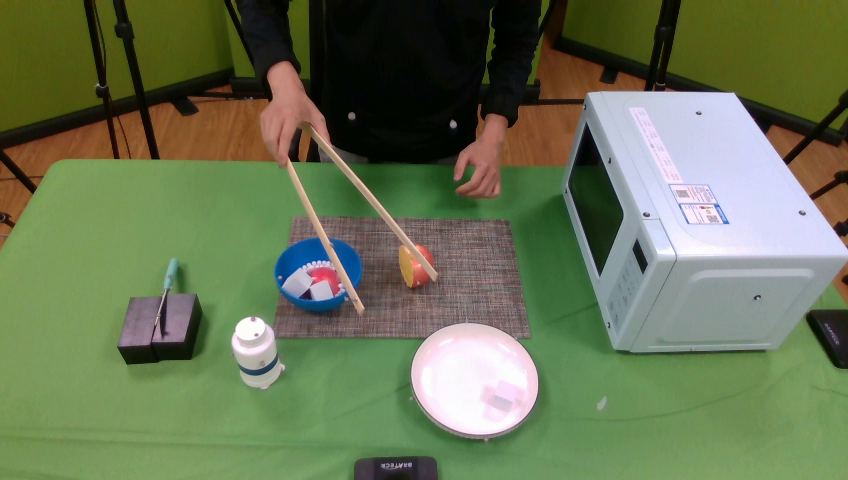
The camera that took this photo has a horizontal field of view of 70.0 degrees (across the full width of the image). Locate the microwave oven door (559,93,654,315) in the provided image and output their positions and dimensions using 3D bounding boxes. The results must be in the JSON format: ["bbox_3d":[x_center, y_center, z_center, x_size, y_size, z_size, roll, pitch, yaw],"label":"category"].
[{"bbox_3d":[0.327,-0.074,1.123,0.039,0.245,0.353,0,46,-5],"label":"microwave oven door"}]

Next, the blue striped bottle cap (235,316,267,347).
[{"bbox_3d":[-0.260,0.136,0.907,0.044,0.021,0.044,2,44,-2],"label":"blue striped bottle cap"}]

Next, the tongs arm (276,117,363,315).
[{"bbox_3d":[-0.165,-0.050,0.973,0.051,0.026,0.382,-21,64,-23],"label":"tongs arm"}]

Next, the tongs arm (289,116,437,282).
[{"bbox_3d":[-0.105,-0.076,1.004,0.028,0.028,0.386,-33,70,-24],"label":"tongs arm"}]

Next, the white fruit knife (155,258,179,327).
[{"bbox_3d":[-0.440,0.085,1.037,0.016,0.027,0.206,10,26,-19],"label":"white fruit knife"}]

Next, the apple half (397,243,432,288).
[{"bbox_3d":[-0.013,0.047,1.115,0.053,0.075,0.080,-10,43,-21],"label":"apple half"}]

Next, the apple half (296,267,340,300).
[{"bbox_3d":[-0.186,0.070,1.067,0.081,0.033,0.081,2,46,-2],"label":"apple half"}]

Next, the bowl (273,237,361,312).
[{"bbox_3d":[-0.186,0.074,1.069,0.151,0.077,0.150,3,46,-3],"label":"bowl"}]

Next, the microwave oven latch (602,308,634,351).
[{"bbox_3d":[0.332,0.153,1.044,0.030,0.029,0.078,-1,45,-4],"label":"microwave oven latch"}]

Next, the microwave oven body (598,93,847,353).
[{"bbox_3d":[0.475,-0.041,1.110,0.326,0.261,0.438,-1,45,-4],"label":"microwave oven body"}]

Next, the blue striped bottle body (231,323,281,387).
[{"bbox_3d":[-0.262,0.171,0.944,0.063,0.121,0.062,2,46,-2],"label":"blue striped bottle body"}]

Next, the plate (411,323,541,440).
[{"bbox_3d":[0.082,0.228,0.976,0.208,0.039,0.206,2,45,-2],"label":"plate"}]
